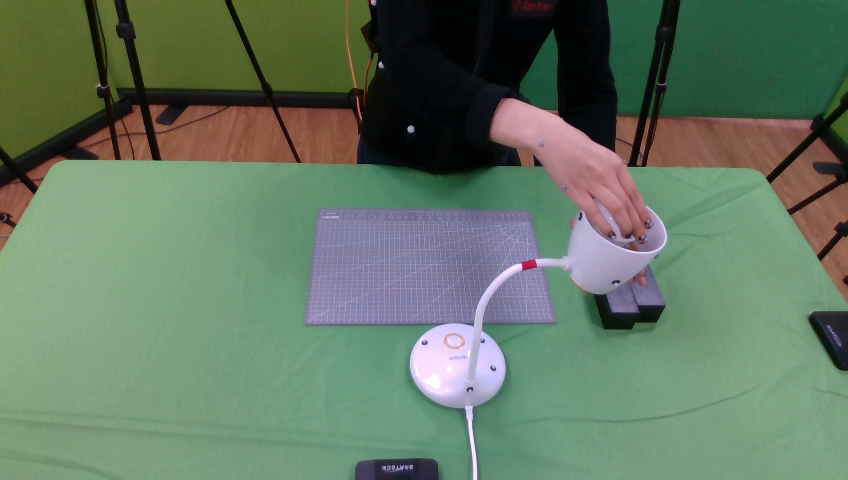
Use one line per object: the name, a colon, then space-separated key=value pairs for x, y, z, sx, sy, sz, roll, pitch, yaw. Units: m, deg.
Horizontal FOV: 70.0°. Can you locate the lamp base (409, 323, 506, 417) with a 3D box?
lamp base: x=0.063 y=0.160 z=0.940 sx=0.161 sy=0.181 sz=0.178 roll=-10 pitch=50 yaw=-13

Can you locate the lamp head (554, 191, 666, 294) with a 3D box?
lamp head: x=0.234 y=0.014 z=0.794 sx=0.113 sy=0.123 sz=0.111 roll=13 pitch=43 yaw=-12

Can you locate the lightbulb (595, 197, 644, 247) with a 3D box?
lightbulb: x=0.243 y=-0.007 z=0.783 sx=0.059 sy=0.108 sz=0.059 roll=8 pitch=40 yaw=-6
